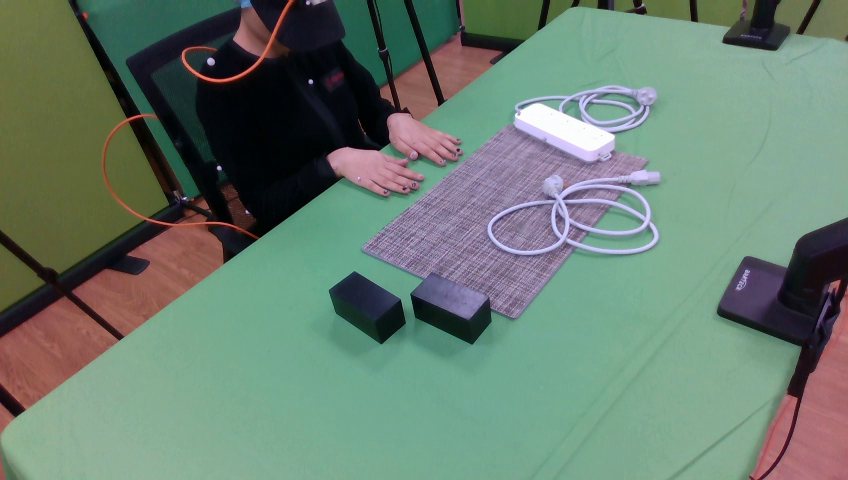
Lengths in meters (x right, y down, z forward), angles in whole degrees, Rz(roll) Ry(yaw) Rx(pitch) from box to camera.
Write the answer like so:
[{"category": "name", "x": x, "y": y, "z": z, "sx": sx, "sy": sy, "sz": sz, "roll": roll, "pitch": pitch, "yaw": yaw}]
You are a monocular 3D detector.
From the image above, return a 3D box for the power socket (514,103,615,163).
[{"category": "power socket", "x": 0.268, "y": -0.209, "z": 1.165, "sx": 0.072, "sy": 0.033, "sz": 0.224, "roll": -30, "pitch": 44, "yaw": -23}]

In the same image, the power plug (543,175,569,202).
[{"category": "power plug", "x": 0.229, "y": -0.080, "z": 1.024, "sx": 0.053, "sy": 0.035, "sz": 0.072, "roll": 1, "pitch": 48, "yaw": -26}]
